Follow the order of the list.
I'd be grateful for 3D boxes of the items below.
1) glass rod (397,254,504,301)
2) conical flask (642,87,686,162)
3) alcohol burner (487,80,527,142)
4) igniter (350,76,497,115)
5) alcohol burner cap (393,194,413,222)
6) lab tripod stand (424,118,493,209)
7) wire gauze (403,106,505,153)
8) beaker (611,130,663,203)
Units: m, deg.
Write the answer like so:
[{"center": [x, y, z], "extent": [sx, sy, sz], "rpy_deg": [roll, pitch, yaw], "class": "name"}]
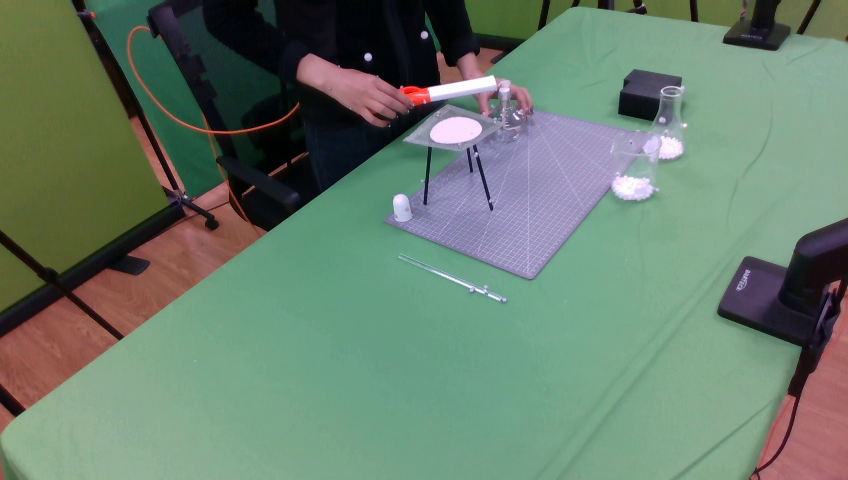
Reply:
[{"center": [0.036, 0.054, 0.922], "extent": [0.198, 0.008, 0.008], "rpy_deg": [22, 50, 31], "class": "glass rod"}, {"center": [0.429, -0.206, 1.067], "extent": [0.075, 0.122, 0.075], "rpy_deg": [-6, 40, 6], "class": "conical flask"}, {"center": [0.160, -0.254, 1.178], "extent": [0.078, 0.120, 0.077], "rpy_deg": [-7, 39, 6], "class": "alcohol burner"}, {"center": [-0.001, -0.273, 1.139], "extent": [0.277, 0.025, 0.057], "rpy_deg": [-10, 51, -2], "class": "igniter"}, {"center": [-0.038, -0.057, 1.038], "extent": [0.034, 0.048, 0.033], "rpy_deg": [-6, 40, 5], "class": "alcohol burner cap"}, {"center": [0.061, -0.133, 1.038], "extent": [0.148, 0.132, 0.147], "rpy_deg": [-6, 38, 6], "class": "lab tripod stand"}, {"center": [0.049, -0.181, 0.992], "extent": [0.120, 0.011, 0.125], "rpy_deg": [23, 48, 34], "class": "wire gauze"}, {"center": [0.346, -0.118, 0.998], "extent": [0.084, 0.101, 0.073], "rpy_deg": [-17, 40, -7], "class": "beaker"}]
